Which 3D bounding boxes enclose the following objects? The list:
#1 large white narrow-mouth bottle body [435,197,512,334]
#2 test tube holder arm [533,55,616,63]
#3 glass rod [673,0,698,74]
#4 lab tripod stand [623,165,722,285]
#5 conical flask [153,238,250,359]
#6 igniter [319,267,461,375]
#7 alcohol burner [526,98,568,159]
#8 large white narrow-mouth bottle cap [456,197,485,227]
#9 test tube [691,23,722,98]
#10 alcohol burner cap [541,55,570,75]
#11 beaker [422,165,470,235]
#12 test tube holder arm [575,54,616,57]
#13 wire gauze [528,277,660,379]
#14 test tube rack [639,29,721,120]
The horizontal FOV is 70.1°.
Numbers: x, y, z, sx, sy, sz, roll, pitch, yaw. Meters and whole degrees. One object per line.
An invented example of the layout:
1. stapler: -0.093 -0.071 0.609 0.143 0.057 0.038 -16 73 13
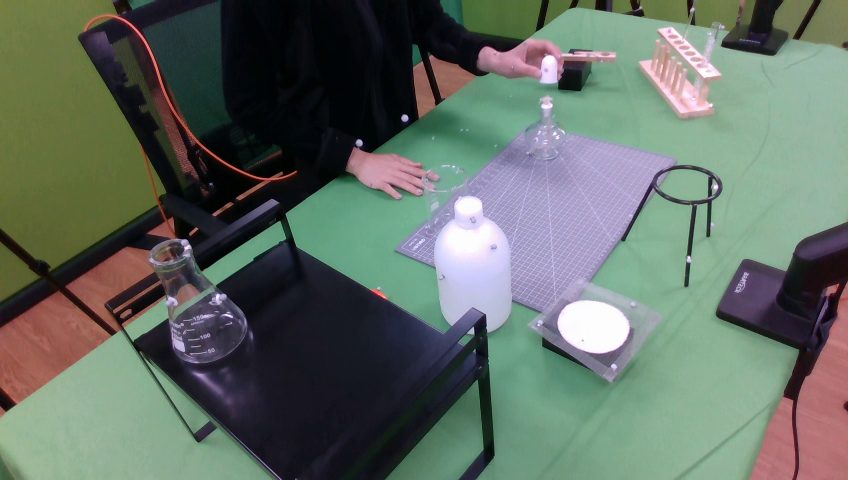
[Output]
1. large white narrow-mouth bottle body: 0.066 0.028 0.805 0.102 0.195 0.101 -4 40 4
2. test tube holder arm: 0.329 -0.398 1.327 0.178 0.015 0.013 5 51 15
3. glass rod: 0.537 -0.424 1.244 0.008 0.200 0.008 0 47 1
4. lab tripod stand: 0.365 -0.030 0.874 0.148 0.132 0.147 -6 41 6
5. conical flask: -0.225 0.055 0.597 0.075 0.122 0.075 -5 41 4
6. igniter: -0.060 0.108 0.862 0.274 0.025 0.057 28 62 34
7. alcohol burner: 0.228 -0.210 1.118 0.078 0.119 0.077 -5 43 5
8. large white narrow-mouth bottle cap: 0.058 -0.035 0.750 0.038 0.024 0.037 -4 40 4
9. test tube: 0.547 -0.345 1.173 0.017 0.151 0.017 0 42 0
10. alcohol burner cap: 0.231 -0.309 1.068 0.048 0.034 0.033 -8 40 -4
11. beaker: 0.041 -0.063 0.986 0.073 0.101 0.084 20 47 29
12. test tube holder arm: 0.373 -0.398 1.318 0.087 0.015 0.010 5 51 16
13. wire gauze: 0.213 0.103 0.763 0.124 0.011 0.122 30 52 35
14. test tube rack: 0.527 -0.351 1.262 0.067 0.085 0.241 -8 40 1
